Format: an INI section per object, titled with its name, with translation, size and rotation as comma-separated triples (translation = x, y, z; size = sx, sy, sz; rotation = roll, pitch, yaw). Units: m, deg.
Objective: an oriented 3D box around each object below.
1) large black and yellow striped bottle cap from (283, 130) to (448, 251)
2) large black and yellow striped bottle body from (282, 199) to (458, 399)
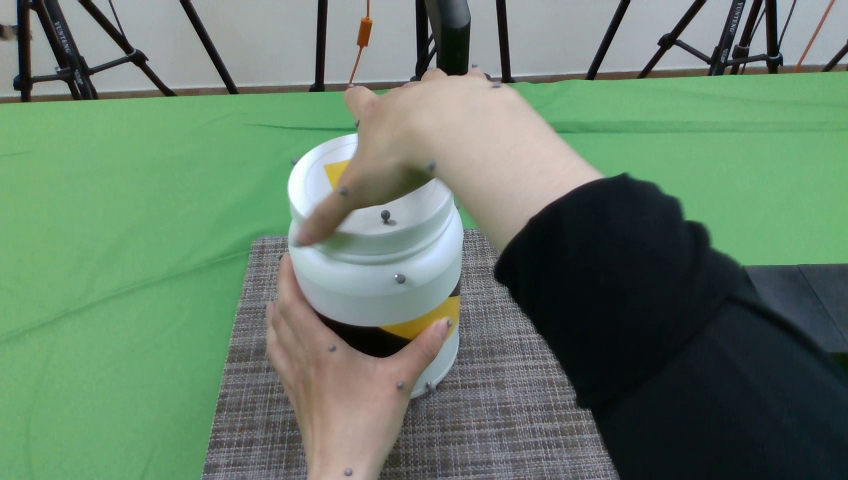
[large black and yellow striped bottle cap]
translation = -0.040, -0.038, 0.422
size = 0.115, 0.019, 0.114
rotation = 0, 44, 0
[large black and yellow striped bottle body]
translation = -0.039, 0.025, 0.482
size = 0.131, 0.185, 0.129
rotation = 0, 43, 1
